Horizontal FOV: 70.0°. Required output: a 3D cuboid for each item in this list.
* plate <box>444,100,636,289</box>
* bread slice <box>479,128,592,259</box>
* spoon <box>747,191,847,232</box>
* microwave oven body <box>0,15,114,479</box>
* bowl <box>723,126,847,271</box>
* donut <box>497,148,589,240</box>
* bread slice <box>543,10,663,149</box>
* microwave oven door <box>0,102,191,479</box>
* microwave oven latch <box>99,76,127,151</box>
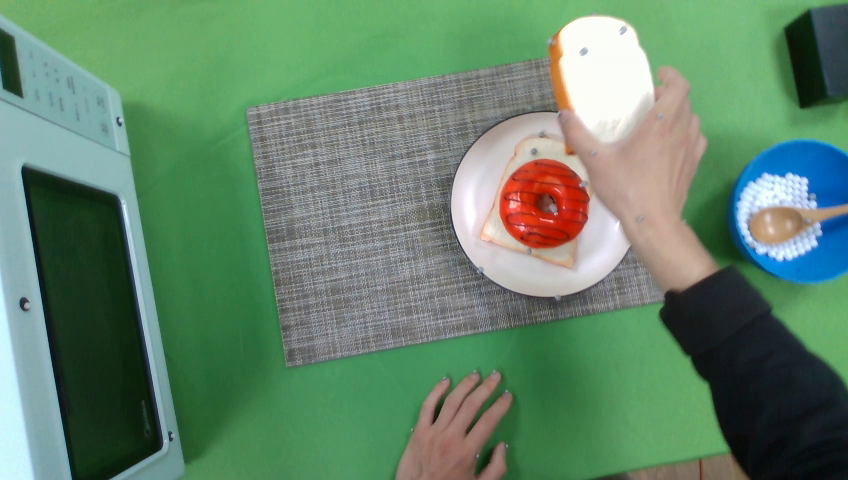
[{"bbox_3d":[0.126,-0.049,0.673,0.208,0.039,0.207,0,87,0],"label":"plate"},{"bbox_3d":[0.127,-0.056,0.675,0.107,0.018,0.134,15,88,0],"label":"bread slice"},{"bbox_3d":[0.438,-0.046,0.624,0.193,0.022,0.041,-14,81,21],"label":"spoon"},{"bbox_3d":[-0.461,0.061,0.559,0.326,0.260,0.441,-12,87,-1],"label":"microwave oven body"},{"bbox_3d":[0.389,-0.039,0.656,0.151,0.077,0.151,0,86,0],"label":"bowl"},{"bbox_3d":[0.126,-0.048,0.646,0.099,0.048,0.099,0,87,1],"label":"donut"},{"bbox_3d":[0.164,-0.153,0.569,0.105,0.019,0.131,-10,83,-18],"label":"bread slice"},{"bbox_3d":[-0.309,0.070,0.553,0.039,0.244,0.355,-13,87,0],"label":"microwave oven door"},{"bbox_3d":[-0.352,-0.136,0.666,0.030,0.029,0.079,-12,87,-1],"label":"microwave oven latch"}]
